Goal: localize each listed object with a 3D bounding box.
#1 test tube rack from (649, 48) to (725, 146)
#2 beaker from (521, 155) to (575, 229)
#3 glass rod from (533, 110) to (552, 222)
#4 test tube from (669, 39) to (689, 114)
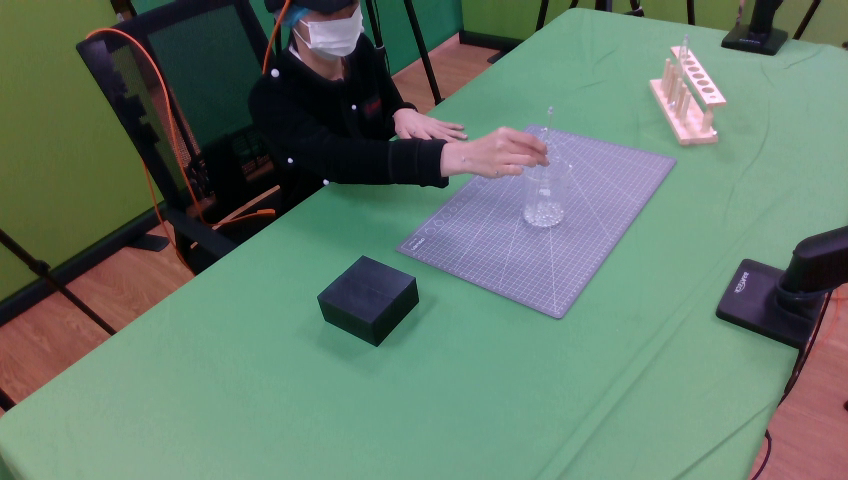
[{"bbox_3d":[0.508,-0.285,1.186,0.067,0.085,0.241,-4,40,6],"label":"test tube rack"},{"bbox_3d":[0.197,-0.075,0.969,0.084,0.101,0.073,-6,40,2],"label":"beaker"},{"bbox_3d":[0.179,-0.106,0.918,0.008,0.200,0.008,0,40,1],"label":"glass rod"},{"bbox_3d":[0.482,-0.308,1.146,0.017,0.151,0.017,-5,42,5],"label":"test tube"}]
